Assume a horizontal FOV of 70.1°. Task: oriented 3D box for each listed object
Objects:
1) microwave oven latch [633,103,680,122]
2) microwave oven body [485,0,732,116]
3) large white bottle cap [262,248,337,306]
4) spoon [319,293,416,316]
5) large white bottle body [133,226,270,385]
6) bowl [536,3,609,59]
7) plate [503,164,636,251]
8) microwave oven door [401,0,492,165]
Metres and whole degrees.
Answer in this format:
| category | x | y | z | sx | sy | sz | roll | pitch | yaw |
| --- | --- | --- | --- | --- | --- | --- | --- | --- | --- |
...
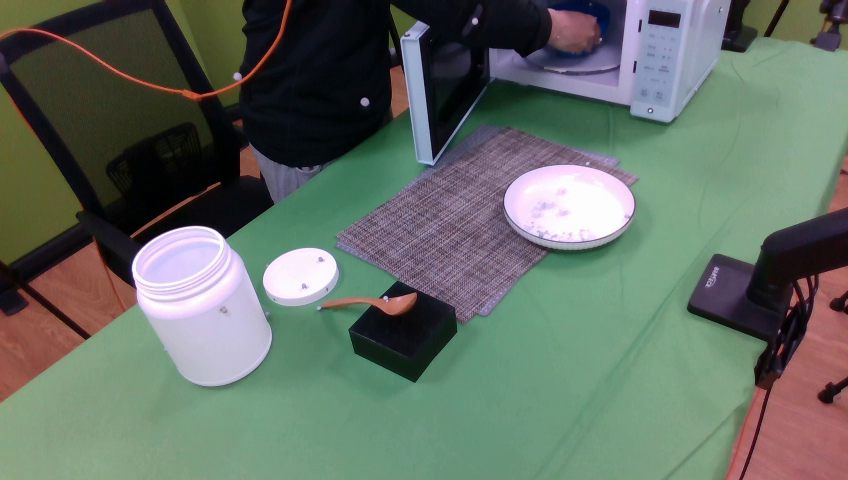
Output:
| category | x | y | z | sx | sy | sz | roll | pitch | yaw |
| --- | --- | --- | --- | --- | --- | --- | --- | --- | --- |
| microwave oven latch | 0.443 | -0.249 | 1.157 | 0.078 | 0.029 | 0.030 | 21 | 49 | 30 |
| microwave oven body | 0.377 | -0.463 | 1.267 | 0.438 | 0.261 | 0.327 | 21 | 49 | 30 |
| large white bottle cap | -0.192 | 0.056 | 0.934 | 0.115 | 0.018 | 0.114 | -4 | 41 | 4 |
| spoon | -0.082 | 0.086 | 0.826 | 0.192 | 0.022 | 0.041 | -3 | 37 | 41 |
| large white bottle body | -0.285 | 0.084 | 0.784 | 0.130 | 0.185 | 0.130 | -4 | 41 | 4 |
| bowl | 0.313 | -0.438 | 1.283 | 0.151 | 0.077 | 0.150 | -4 | 41 | 4 |
| plate | 0.231 | -0.050 | 0.976 | 0.209 | 0.038 | 0.208 | -3 | 41 | 3 |
| microwave oven door | 0.055 | -0.343 | 1.167 | 0.039 | 0.245 | 0.356 | 11 | 44 | 21 |
